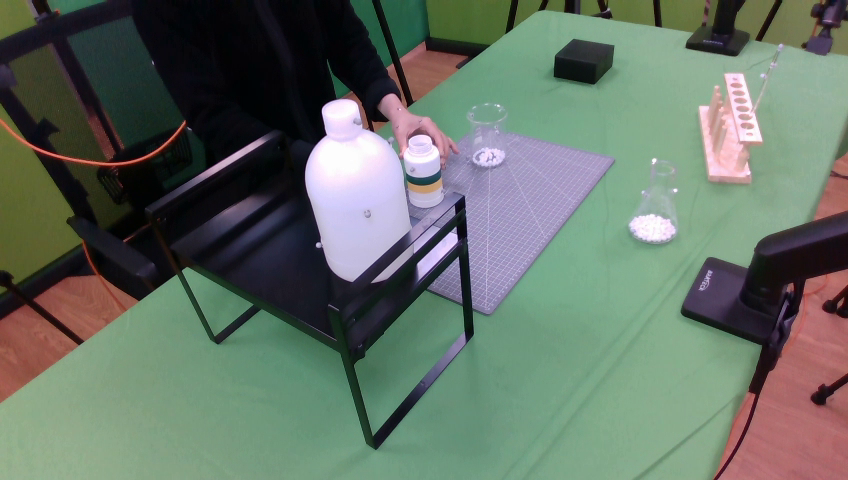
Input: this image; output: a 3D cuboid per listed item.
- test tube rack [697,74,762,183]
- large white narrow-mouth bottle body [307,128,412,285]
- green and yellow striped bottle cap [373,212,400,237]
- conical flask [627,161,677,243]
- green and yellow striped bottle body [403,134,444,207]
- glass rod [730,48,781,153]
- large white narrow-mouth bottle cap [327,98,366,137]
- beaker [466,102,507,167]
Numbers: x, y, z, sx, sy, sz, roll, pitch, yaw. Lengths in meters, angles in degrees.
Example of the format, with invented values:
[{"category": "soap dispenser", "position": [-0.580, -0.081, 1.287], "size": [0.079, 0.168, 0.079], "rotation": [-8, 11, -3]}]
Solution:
[{"category": "test tube rack", "position": [0.547, -0.208, 1.095], "size": [0.066, 0.085, 0.242], "rotation": [5, 42, 15]}, {"category": "large white narrow-mouth bottle body", "position": [-0.070, -0.051, 0.638], "size": [0.102, 0.195, 0.101], "rotation": [-3, 40, 3]}, {"category": "green and yellow striped bottle cap", "position": [-0.063, -0.027, 1.017], "size": [0.045, 0.020, 0.045], "rotation": [-3, 41, 3]}, {"category": "conical flask", "position": [0.355, -0.061, 0.921], "size": [0.075, 0.122, 0.075], "rotation": [-4, 41, 4]}, {"category": "green and yellow striped bottle body", "position": [-0.001, -0.121, 1.038], "size": [0.063, 0.120, 0.063], "rotation": [-4, 40, 4]}, {"category": "glass rod", "position": [0.554, -0.228, 1.015], "size": [0.008, 0.200, 0.008], "rotation": [1, 44, -1]}, {"category": "large white narrow-mouth bottle cap", "position": [-0.075, -0.118, 0.582], "size": [0.038, 0.024, 0.037], "rotation": [-3, 40, 3]}, {"category": "beaker", "position": [0.121, -0.195, 1.124], "size": [0.084, 0.101, 0.073], "rotation": [-34, 48, -28]}]
